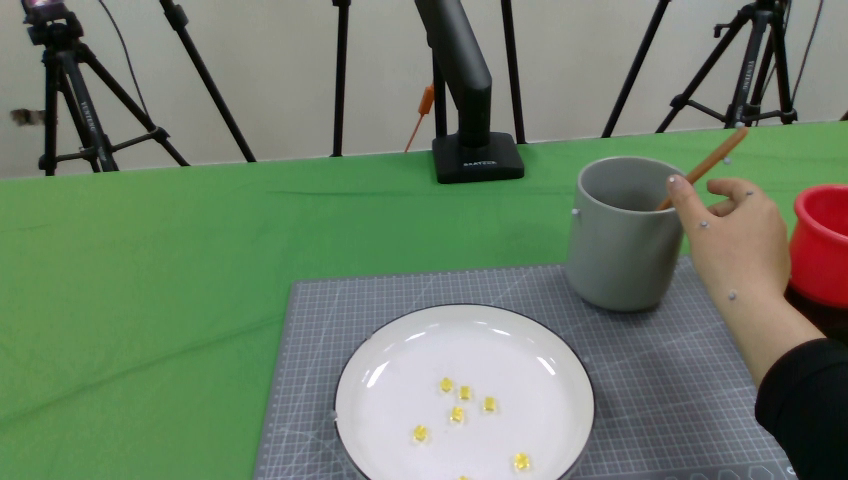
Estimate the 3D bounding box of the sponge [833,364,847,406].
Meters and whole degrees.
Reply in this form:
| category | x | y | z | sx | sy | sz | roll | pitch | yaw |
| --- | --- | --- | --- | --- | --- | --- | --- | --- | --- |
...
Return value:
| category | x | y | z | sx | sy | sz | roll | pitch | yaw |
| --- | --- | --- | --- | --- | --- | --- | --- | --- | --- |
| sponge | 0.419 | 0.158 | 0.425 | 0.118 | 0.061 | 0.204 | -6 | 36 | -6 |

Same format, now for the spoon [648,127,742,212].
| category | x | y | z | sx | sy | sz | roll | pitch | yaw |
| --- | --- | --- | --- | --- | --- | --- | --- | --- | --- |
| spoon | 0.220 | -0.028 | 0.566 | 0.022 | 0.194 | 0.041 | 28 | 33 | -6 |

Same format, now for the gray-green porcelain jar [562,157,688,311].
| category | x | y | z | sx | sy | sz | roll | pitch | yaw |
| --- | --- | --- | --- | --- | --- | --- | --- | --- | --- |
| gray-green porcelain jar | 0.191 | -0.002 | 0.595 | 0.106 | 0.127 | 0.105 | -2 | 37 | 2 |

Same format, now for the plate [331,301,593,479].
| category | x | y | z | sx | sy | sz | roll | pitch | yaw |
| --- | --- | --- | --- | --- | --- | --- | --- | --- | --- |
| plate | 0.030 | 0.132 | 0.497 | 0.207 | 0.039 | 0.205 | -2 | 36 | 1 |
